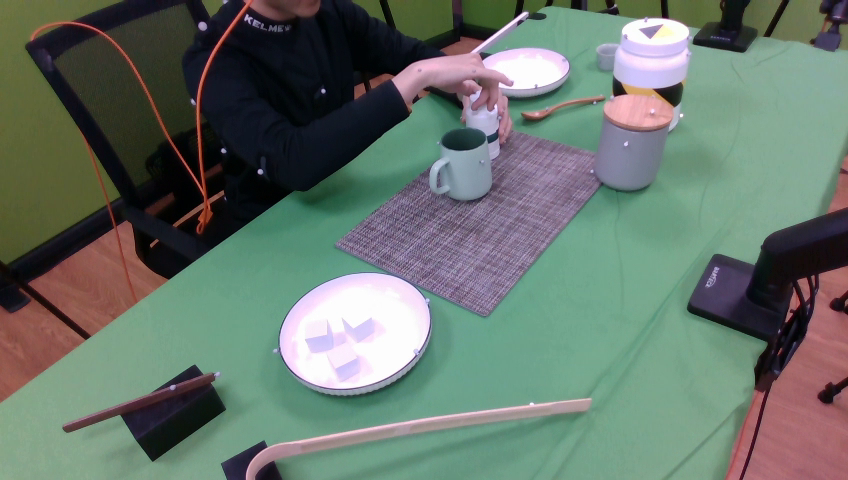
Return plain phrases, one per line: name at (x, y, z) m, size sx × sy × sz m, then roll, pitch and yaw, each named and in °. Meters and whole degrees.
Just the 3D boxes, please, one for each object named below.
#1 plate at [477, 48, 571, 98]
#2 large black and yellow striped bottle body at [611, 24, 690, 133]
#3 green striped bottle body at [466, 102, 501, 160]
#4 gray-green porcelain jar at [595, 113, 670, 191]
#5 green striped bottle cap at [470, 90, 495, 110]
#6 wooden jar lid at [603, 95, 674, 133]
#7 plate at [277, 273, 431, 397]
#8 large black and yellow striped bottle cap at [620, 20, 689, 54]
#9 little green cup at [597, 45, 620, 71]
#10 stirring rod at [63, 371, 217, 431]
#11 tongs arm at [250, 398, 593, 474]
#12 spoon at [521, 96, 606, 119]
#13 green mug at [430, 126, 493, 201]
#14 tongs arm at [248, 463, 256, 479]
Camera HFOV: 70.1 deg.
plate at (0.223, -0.371, 1.357) m, size 0.209 × 0.038 × 0.208 m, roll -4°, pitch 41°, yaw 4°
large black and yellow striped bottle body at (0.420, -0.299, 1.132) m, size 0.131 × 0.185 × 0.130 m, roll -4°, pitch 40°, yaw 4°
green striped bottle body at (0.110, -0.212, 1.120) m, size 0.063 × 0.120 × 0.063 m, roll -4°, pitch 40°, yaw 4°
gray-green porcelain jar at (0.346, -0.155, 1.017) m, size 0.106 × 0.127 × 0.105 m, roll -2°, pitch 44°, yaw 2°
green striped bottle cap at (0.105, -0.251, 1.085) m, size 0.044 × 0.020 × 0.044 m, roll -5°, pitch 42°, yaw 5°
wooden jar lid at (0.343, -0.200, 0.973) m, size 0.108 × 0.021 × 0.108 m, roll -2°, pitch 39°, yaw 2°
plate at (-0.091, 0.129, 0.821) m, size 0.207 × 0.039 × 0.206 m, roll -4°, pitch 40°, yaw 4°
large black and yellow striped bottle cap at (0.411, -0.363, 1.079) m, size 0.115 × 0.019 × 0.114 m, roll -4°, pitch 42°, yaw 4°
little green cup at (0.423, -0.413, 1.376) m, size 0.061 × 0.039 × 0.061 m, roll -4°, pitch 41°, yaw 4°
stirring rod at (-0.337, 0.192, 0.723) m, size 0.177 × 0.014 × 0.005 m, roll -18°, pitch 43°, yaw -12°
tongs arm at (0.008, 0.212, 0.675) m, size 0.389 × 0.028 × 0.028 m, roll -5°, pitch 46°, yaw -11°
spoon at (0.291, -0.276, 1.249) m, size 0.194 × 0.022 × 0.041 m, roll -18°, pitch 23°, yaw -12°
green mug at (0.060, -0.122, 1.034) m, size 0.126 × 0.105 × 0.091 m, roll -35°, pitch 49°, yaw -27°
tongs arm at (0.012, 0.262, 0.614) m, size 0.385 × 0.026 × 0.050 m, roll 3°, pitch 42°, yaw -2°
